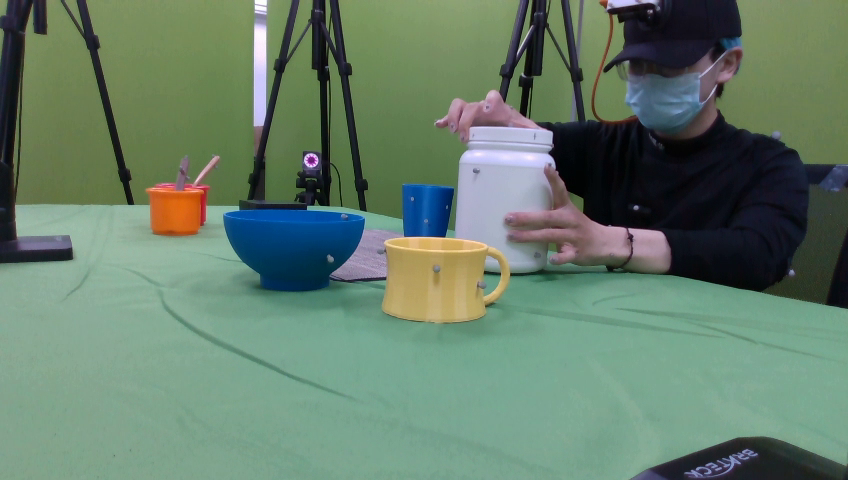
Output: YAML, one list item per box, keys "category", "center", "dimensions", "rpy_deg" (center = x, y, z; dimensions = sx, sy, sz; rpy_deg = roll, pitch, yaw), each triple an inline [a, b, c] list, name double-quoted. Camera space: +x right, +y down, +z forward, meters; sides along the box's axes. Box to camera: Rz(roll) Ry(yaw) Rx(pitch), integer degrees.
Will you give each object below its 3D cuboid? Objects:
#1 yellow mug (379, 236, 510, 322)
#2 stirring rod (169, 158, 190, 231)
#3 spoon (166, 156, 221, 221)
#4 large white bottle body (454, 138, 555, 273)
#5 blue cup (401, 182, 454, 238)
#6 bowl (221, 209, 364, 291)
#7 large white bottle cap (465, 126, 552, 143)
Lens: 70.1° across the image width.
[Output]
- category: "yellow mug"
  center: [0.024, 0.034, 0.575]
  dimensions: [0.131, 0.064, 0.099]
  rpy_deg: [0, 7, -22]
- category: "stirring rod"
  center: [-0.427, -0.082, 1.059]
  dimensions: [0.014, 0.006, 0.175]
  rpy_deg: [2, 49, -13]
- category: "spoon"
  center: [-0.447, -0.104, 1.191]
  dimensions: [0.041, 0.022, 0.193]
  rpy_deg: [7, 52, 14]
- category: "large white bottle body"
  center: [0.109, -0.056, 0.819]
  dimensions: [0.131, 0.184, 0.130]
  rpy_deg: [3, 7, 0]
- category: "blue cup"
  center: [0.003, -0.038, 0.966]
  dimensions: [0.093, 0.100, 0.092]
  rpy_deg: [4, 8, 0]
- category: "bowl"
  center: [-0.142, 0.011, 0.660]
  dimensions: [0.151, 0.077, 0.151]
  rpy_deg: [2, 7, 0]
- category: "large white bottle cap"
  center: [0.112, -0.140, 0.807]
  dimensions: [0.115, 0.018, 0.115]
  rpy_deg: [3, 7, 0]
